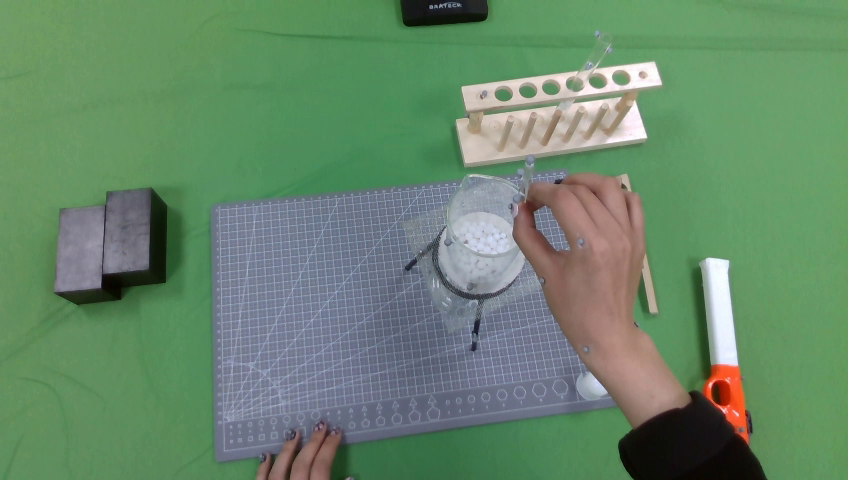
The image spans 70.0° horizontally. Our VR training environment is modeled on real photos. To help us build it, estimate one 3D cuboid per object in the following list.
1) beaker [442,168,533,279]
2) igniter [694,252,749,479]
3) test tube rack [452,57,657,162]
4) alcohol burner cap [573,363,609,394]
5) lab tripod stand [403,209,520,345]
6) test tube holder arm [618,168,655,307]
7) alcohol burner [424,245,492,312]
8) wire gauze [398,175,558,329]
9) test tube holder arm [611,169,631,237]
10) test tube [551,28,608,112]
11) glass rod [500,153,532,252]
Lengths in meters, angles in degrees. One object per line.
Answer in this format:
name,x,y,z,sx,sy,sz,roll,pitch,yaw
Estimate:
beaker,0.051,-0.011,0.553,0.074,0.101,0.083,-21,72,-8
igniter,0.339,0.146,0.694,0.057,0.025,0.274,7,70,-11
test tube rack,0.163,-0.163,0.761,0.243,0.085,0.066,-9,71,-6
alcohol burner cap,0.188,0.152,0.673,0.034,0.048,0.033,1,70,-2
lab tripod stand,0.044,0.032,0.659,0.148,0.132,0.147,0,71,-1
test tube holder arm,0.260,-0.005,0.745,0.013,0.015,0.177,-17,70,26
alcohol burner,0.039,0.037,0.667,0.078,0.120,0.077,1,69,-1
wire gauze,0.052,0.007,0.598,0.121,0.011,0.124,-23,75,-7
test tube holder arm,0.250,-0.046,0.761,0.010,0.015,0.087,-16,70,26
test tube,0.181,-0.197,0.721,0.017,0.151,0.017,3,69,-8
glass rod,0.073,-0.023,0.498,0.008,0.201,0.008,-1,71,2
